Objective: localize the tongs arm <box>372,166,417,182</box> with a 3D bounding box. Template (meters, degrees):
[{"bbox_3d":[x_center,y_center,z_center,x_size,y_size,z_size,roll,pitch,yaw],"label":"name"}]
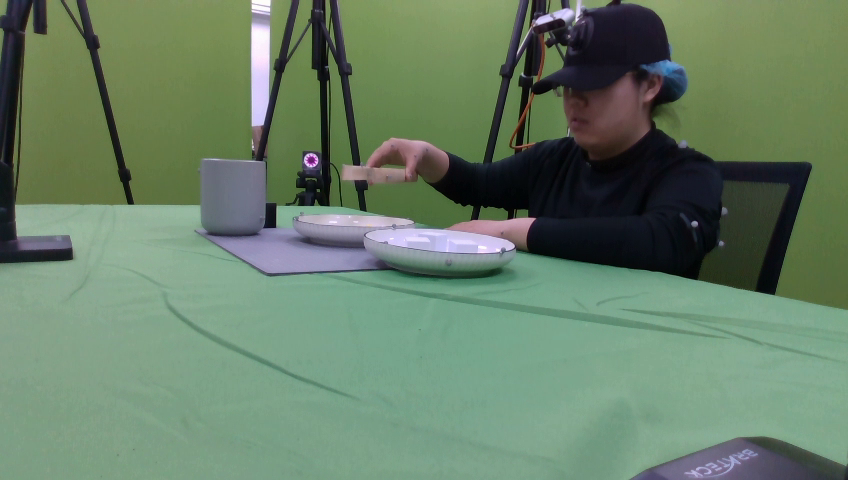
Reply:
[{"bbox_3d":[-0.052,-0.125,1.153,0.028,0.028,0.388,1,6,9],"label":"tongs arm"}]

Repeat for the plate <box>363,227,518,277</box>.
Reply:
[{"bbox_3d":[0.021,0.016,0.817,0.209,0.038,0.209,3,9,0],"label":"plate"}]

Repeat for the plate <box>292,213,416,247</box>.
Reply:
[{"bbox_3d":[-0.118,-0.017,1.024,0.208,0.039,0.207,3,8,0],"label":"plate"}]

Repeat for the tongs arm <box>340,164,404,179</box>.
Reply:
[{"bbox_3d":[-0.084,-0.128,1.158,0.051,0.026,0.385,4,7,7],"label":"tongs arm"}]

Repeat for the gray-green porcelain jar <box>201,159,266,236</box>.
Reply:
[{"bbox_3d":[-0.326,-0.073,1.036,0.106,0.126,0.106,3,8,0],"label":"gray-green porcelain jar"}]
